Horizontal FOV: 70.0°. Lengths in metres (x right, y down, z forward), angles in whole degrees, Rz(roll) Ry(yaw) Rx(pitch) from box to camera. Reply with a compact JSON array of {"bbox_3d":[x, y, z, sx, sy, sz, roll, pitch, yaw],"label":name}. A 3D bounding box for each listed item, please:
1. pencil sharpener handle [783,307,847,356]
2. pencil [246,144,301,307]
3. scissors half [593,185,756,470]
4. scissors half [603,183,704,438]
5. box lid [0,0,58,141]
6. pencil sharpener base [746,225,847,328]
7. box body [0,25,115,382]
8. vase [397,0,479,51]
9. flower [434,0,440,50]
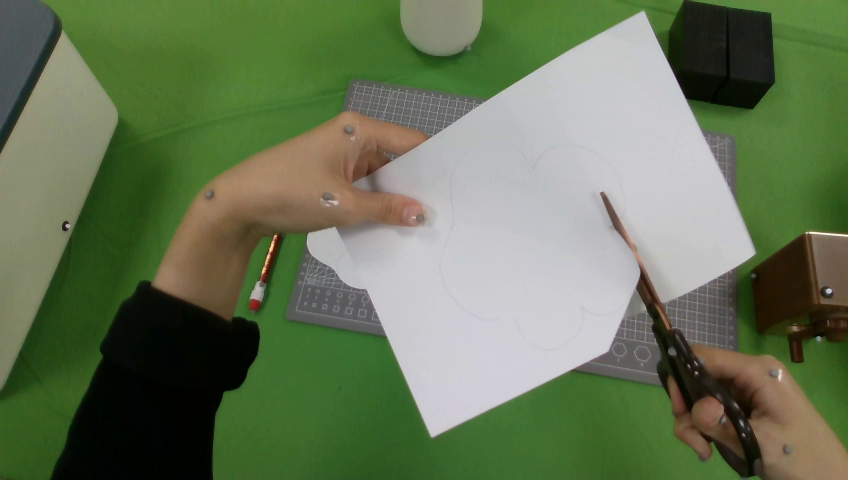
[{"bbox_3d":[0.352,0.084,0.543,0.036,0.068,0.030,10,68,-11],"label":"pencil sharpener handle"},{"bbox_3d":[-0.158,-0.021,0.648,0.012,0.012,0.193,10,68,4],"label":"pencil"},{"bbox_3d":[0.136,0.046,0.333,0.013,0.040,0.174,-27,85,-7],"label":"scissors half"},{"bbox_3d":[0.133,0.044,0.355,0.013,0.039,0.176,-26,111,-2],"label":"scissors half"},{"bbox_3d":[-0.493,-0.077,0.505,0.263,0.015,0.369,10,68,3],"label":"box lid"},{"bbox_3d":[0.361,0.042,0.573,0.061,0.108,0.076,5,69,2],"label":"pencil sharpener base"},{"bbox_3d":[-0.493,-0.047,0.574,0.254,0.161,0.361,9,69,4],"label":"box body"},{"bbox_3d":[0.015,-0.301,0.657,0.098,0.201,0.097,0,67,1],"label":"vase"},{"bbox_3d":[0.009,-0.345,0.585,0.044,0.365,0.038,2,50,5],"label":"flower"}]
